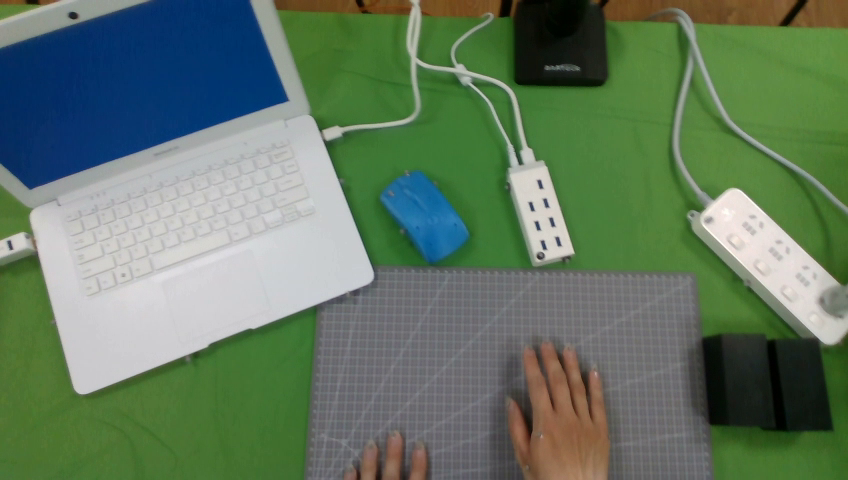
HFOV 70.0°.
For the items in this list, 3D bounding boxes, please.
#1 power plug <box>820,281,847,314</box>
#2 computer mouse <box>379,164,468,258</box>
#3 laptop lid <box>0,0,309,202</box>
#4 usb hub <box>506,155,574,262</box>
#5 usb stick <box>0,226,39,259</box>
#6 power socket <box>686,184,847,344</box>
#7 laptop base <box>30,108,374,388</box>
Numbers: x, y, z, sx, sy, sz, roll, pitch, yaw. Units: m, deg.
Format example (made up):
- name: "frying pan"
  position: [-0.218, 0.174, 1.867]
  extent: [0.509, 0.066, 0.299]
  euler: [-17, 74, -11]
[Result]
- name: "power plug"
  position: [0.489, 0.056, 0.694]
  extent: [0.072, 0.053, 0.035]
  euler: [-29, 77, -11]
- name: "computer mouse"
  position: [-0.001, -0.037, 0.724]
  extent: [0.063, 0.041, 0.116]
  euler: [-34, 75, -8]
- name: "laptop lid"
  position: [-0.316, -0.163, 0.641]
  extent: [0.357, 0.244, 0.013]
  euler: [-22, 61, -6]
- name: "usb hub"
  position: [0.139, -0.039, 0.734]
  extent: [0.049, 0.025, 0.124]
  euler: [-14, 76, -4]
- name: "usb stick"
  position: [-0.468, 0.000, 0.699]
  extent: [0.059, 0.027, 0.021]
  euler: [-21, 80, -11]
- name: "power socket"
  position: [0.416, 0.027, 0.719]
  extent: [0.072, 0.033, 0.226]
  euler: [-40, 79, -11]
- name: "laptop base"
  position: [-0.261, 0.001, 0.718]
  extent: [0.354, 0.023, 0.234]
  euler: [-21, 80, -6]
